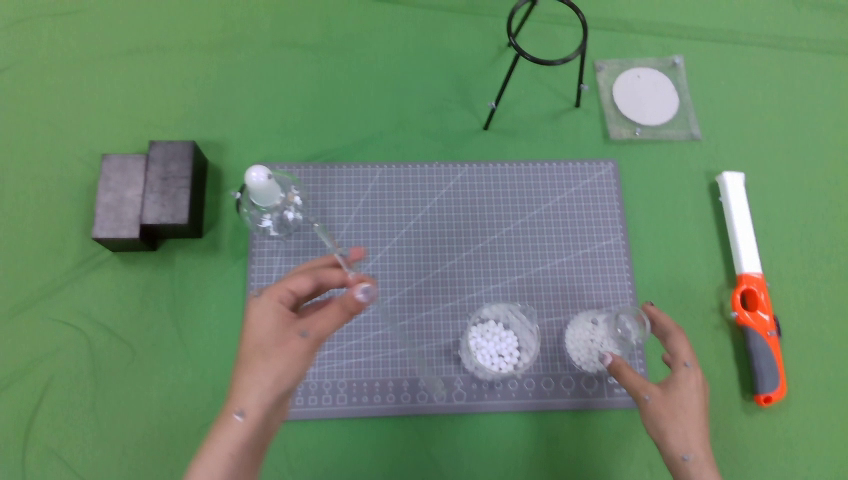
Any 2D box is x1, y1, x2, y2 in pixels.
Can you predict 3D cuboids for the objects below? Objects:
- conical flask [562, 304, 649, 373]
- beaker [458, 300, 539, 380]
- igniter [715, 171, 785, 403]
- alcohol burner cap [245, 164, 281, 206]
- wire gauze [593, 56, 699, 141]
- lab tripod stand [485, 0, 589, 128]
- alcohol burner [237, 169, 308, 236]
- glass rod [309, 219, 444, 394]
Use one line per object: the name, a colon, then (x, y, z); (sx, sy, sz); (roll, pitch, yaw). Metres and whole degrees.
conical flask: (0.195, 0.097, 0.635); (0.075, 0.122, 0.075); (1, 73, -2)
beaker: (0.076, 0.107, 0.638); (0.084, 0.101, 0.073); (-43, 79, -14)
igniter: (0.381, 0.049, 0.712); (0.057, 0.025, 0.275); (2, 73, -14)
alcohol burner cap: (-0.169, -0.060, 0.629); (0.034, 0.048, 0.033); (2, 66, -4)
wire gauze: (0.289, -0.184, 0.787); (0.125, 0.011, 0.120); (-2, 74, -6)
lab tripod stand: (0.131, -0.209, 0.720); (0.148, 0.132, 0.147); (1, 75, -3)
alcohol burner: (-0.170, -0.048, 0.663); (0.078, 0.119, 0.077); (0, 73, -1)
glass rod: (-0.032, 0.060, 0.483); (0.008, 0.008, 0.201); (-41, 119, -14)
